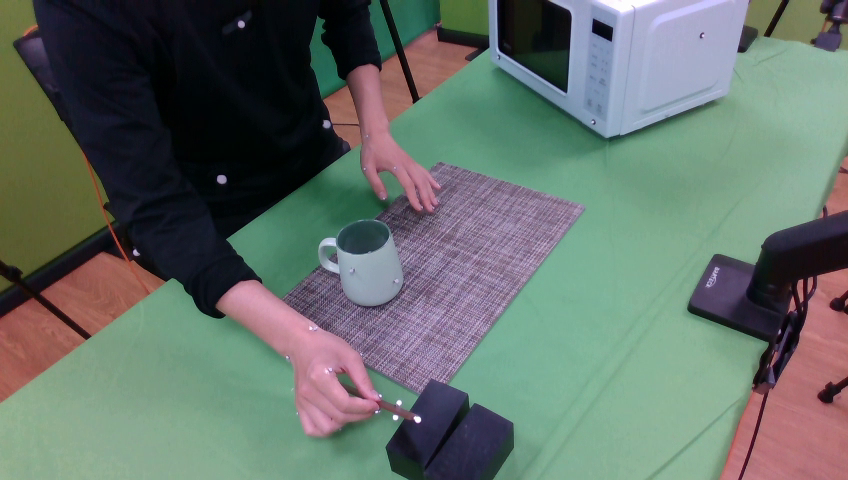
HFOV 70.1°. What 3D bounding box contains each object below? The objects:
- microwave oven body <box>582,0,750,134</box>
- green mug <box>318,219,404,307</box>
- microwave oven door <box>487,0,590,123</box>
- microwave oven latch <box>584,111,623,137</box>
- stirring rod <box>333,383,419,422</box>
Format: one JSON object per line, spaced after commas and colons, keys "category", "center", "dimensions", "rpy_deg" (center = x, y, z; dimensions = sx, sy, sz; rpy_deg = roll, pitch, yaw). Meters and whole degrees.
{"category": "microwave oven body", "center": [0.382, -0.445, 1.246], "dimensions": [0.327, 0.261, 0.437], "rpy_deg": [-22, 42, -16]}
{"category": "green mug", "center": [-0.096, 0.032, 0.876], "dimensions": [0.125, 0.105, 0.092], "rpy_deg": [8, 43, 17]}
{"category": "microwave oven door", "center": [0.232, -0.420, 1.231], "dimensions": [0.039, 0.245, 0.352], "rpy_deg": [-22, 43, -16]}
{"category": "microwave oven latch", "center": [0.337, -0.222, 1.142], "dimensions": [0.030, 0.029, 0.078], "rpy_deg": [-21, 42, -14]}
{"category": "stirring rod", "center": [-0.061, 0.188, 0.711], "dimensions": [0.014, 0.006, 0.175], "rpy_deg": [7, -3, -36]}
